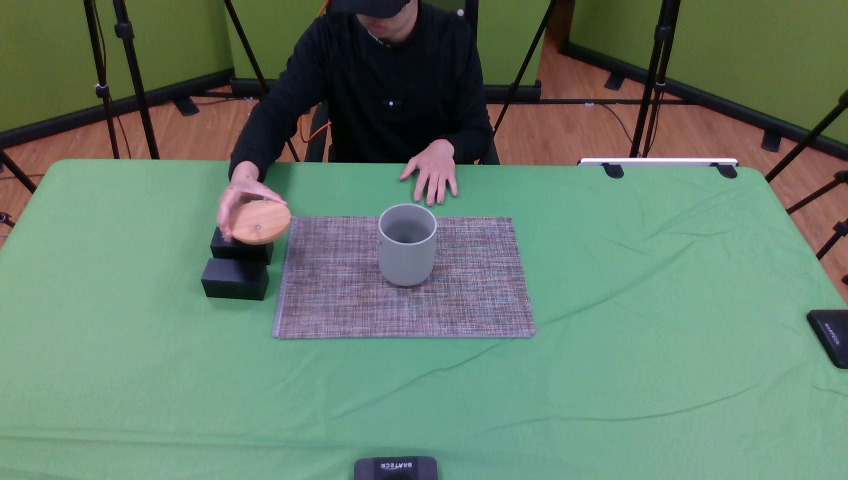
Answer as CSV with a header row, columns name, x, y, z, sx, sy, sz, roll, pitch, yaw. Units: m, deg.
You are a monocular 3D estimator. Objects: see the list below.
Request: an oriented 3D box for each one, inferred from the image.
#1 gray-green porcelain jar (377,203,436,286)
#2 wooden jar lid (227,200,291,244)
name,x,y,z,sx,sy,sz,roll,pitch,yaw
gray-green porcelain jar,-0.033,0.014,1.106,0.106,0.127,0.105,2,46,-2
wooden jar lid,-0.286,-0.030,1.058,0.108,0.021,0.107,0,41,0
